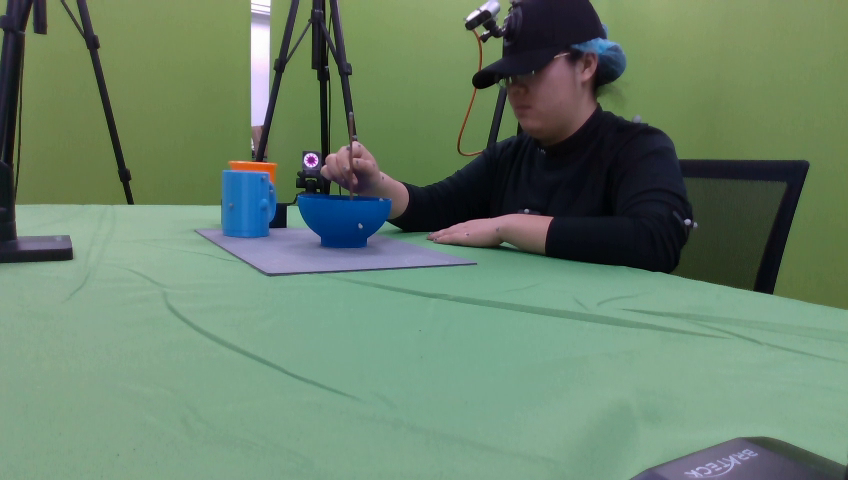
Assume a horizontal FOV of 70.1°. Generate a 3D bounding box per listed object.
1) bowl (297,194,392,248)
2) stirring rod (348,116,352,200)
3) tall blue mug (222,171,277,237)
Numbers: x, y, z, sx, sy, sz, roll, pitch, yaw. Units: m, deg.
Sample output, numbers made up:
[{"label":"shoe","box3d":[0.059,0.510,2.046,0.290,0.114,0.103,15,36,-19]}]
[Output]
[{"label":"bowl","box3d":[-0.127,-0.030,0.963,0.151,0.077,0.151,2,7,0]},{"label":"stirring rod","box3d":[-0.115,-0.105,0.943,0.006,0.176,0.014,0,2,-7]},{"label":"tall blue mug","box3d":[-0.302,-0.064,1.043,0.078,0.108,0.107,1,7,-4]}]
